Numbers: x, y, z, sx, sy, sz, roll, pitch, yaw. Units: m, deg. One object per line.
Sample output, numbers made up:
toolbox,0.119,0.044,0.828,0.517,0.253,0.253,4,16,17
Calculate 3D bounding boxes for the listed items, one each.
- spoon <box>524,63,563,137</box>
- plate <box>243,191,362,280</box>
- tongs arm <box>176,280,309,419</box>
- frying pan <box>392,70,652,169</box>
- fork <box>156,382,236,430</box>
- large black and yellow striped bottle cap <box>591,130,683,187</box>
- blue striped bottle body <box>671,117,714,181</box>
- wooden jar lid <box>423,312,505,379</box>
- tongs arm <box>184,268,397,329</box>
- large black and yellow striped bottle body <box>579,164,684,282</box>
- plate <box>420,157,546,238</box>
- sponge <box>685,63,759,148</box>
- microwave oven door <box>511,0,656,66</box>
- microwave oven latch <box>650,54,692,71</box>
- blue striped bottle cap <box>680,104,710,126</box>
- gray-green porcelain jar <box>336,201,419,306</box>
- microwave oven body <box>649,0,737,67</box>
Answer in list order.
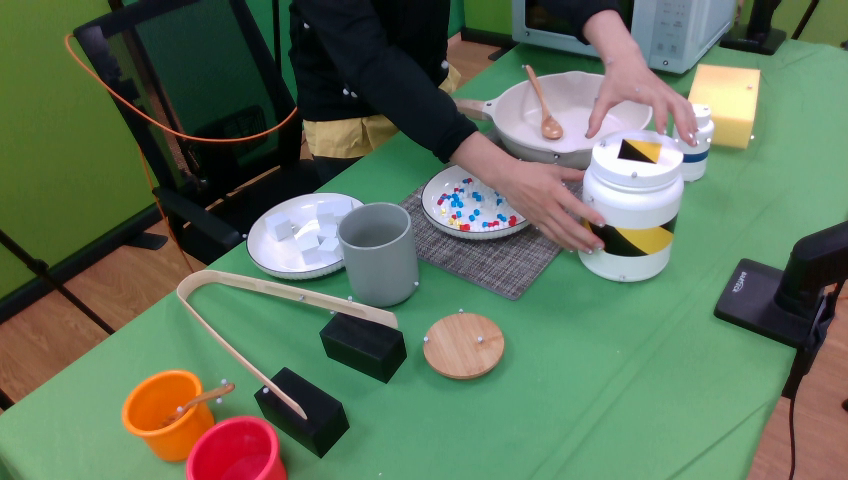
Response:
spoon,0.234,-0.281,1.203,0.041,0.022,0.192,-14,68,0
plate,-0.188,-0.005,0.992,0.207,0.039,0.206,-3,41,3
tongs arm,-0.254,0.133,0.801,0.028,0.028,0.384,-41,41,-23
frying pan,0.176,-0.248,1.165,0.487,0.103,0.306,12,43,9
fork,-0.262,0.189,0.690,0.018,0.206,0.028,49,43,-7
large black and yellow striped bottle cap,0.282,-0.111,0.803,0.115,0.019,0.114,-2,41,3
blue striped bottle body,0.450,-0.166,1.022,0.063,0.121,0.063,-5,41,4
wooden jar lid,0.053,0.142,0.800,0.108,0.021,0.108,-5,39,4
tongs arm,-0.202,0.084,0.848,0.382,0.027,0.051,11,45,35
large black and yellow striped bottle body,0.292,-0.046,0.858,0.131,0.185,0.130,-4,41,4
plate,0.100,-0.068,1.017,0.209,0.038,0.208,-4,40,4
sponge,0.569,-0.263,1.164,0.117,0.061,0.207,12,45,22
microwave oven door,0.351,-0.540,1.349,0.353,0.245,0.039,24,50,31
microwave oven latch,0.530,-0.386,1.301,0.078,0.029,0.030,23,50,32
blue striped bottle cap,0.444,-0.205,0.989,0.044,0.021,0.044,-1,41,2
gray-green porcelain jar,-0.064,0.024,0.872,0.106,0.127,0.105,-4,41,4
microwave oven body,0.475,-0.602,1.411,0.438,0.261,0.327,23,50,32
